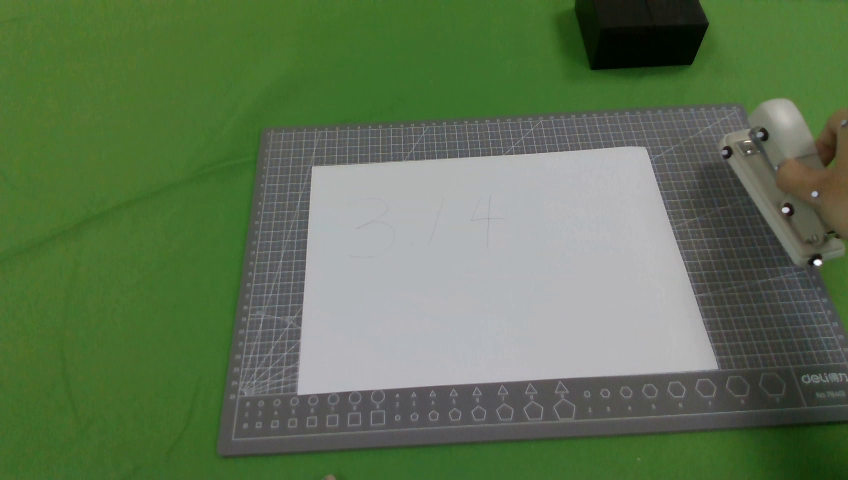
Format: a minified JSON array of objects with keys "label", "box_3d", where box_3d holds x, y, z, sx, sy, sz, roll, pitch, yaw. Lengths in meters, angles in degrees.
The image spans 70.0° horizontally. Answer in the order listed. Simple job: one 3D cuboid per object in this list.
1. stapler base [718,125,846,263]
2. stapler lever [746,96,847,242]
[{"label":"stapler base","box_3d":[0.279,-0.045,0.472,0.041,0.024,0.129,-14,60,-4]},{"label":"stapler lever","box_3d":[0.278,-0.057,0.450,0.027,0.040,0.117,-14,60,-4]}]
